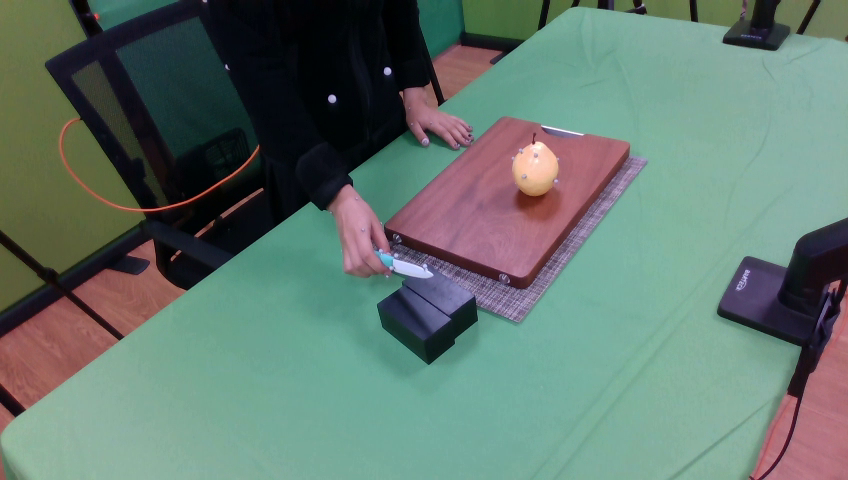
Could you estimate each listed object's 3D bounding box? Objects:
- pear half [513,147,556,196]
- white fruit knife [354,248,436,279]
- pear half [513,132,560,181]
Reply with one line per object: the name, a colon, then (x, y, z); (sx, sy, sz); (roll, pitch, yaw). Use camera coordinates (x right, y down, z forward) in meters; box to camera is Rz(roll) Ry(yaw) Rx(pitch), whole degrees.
pear half: (0.178, -0.106, 0.977); (0.070, 0.088, 0.031); (7, 43, 12)
white fruit knife: (-0.044, 0.033, 0.849); (0.016, 0.027, 0.205); (-33, 24, -28)
pear half: (0.186, -0.136, 0.996); (0.076, 0.110, 0.056); (6, 42, 13)
